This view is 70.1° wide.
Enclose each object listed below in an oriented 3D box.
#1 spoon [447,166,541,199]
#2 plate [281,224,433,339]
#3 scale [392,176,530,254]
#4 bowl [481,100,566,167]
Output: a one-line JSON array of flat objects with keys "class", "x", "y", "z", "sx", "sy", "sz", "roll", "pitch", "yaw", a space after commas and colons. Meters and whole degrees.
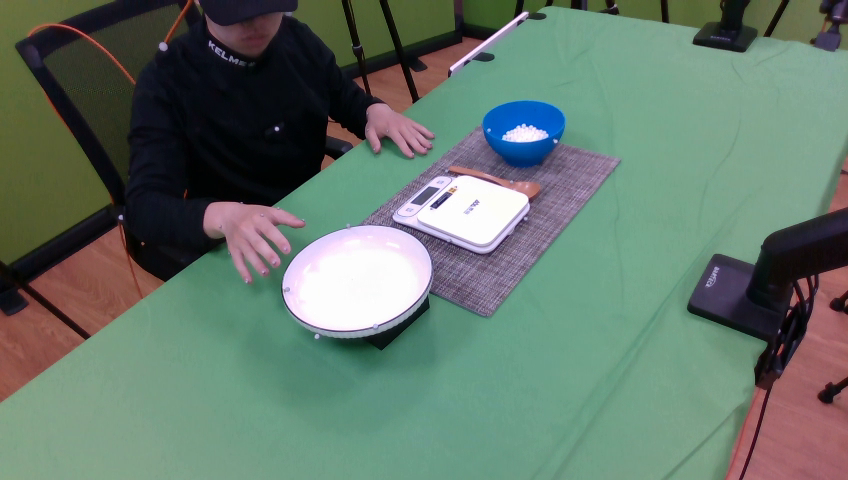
[{"class": "spoon", "x": 0.120, "y": -0.107, "z": 1.071, "sx": 0.192, "sy": 0.022, "sz": 0.041, "roll": 23, "pitch": 64, "yaw": 31}, {"class": "plate", "x": -0.089, "y": 0.057, "z": 0.825, "sx": 0.209, "sy": 0.038, "sz": 0.208, "roll": -4, "pitch": 40, "yaw": 4}, {"class": "scale", "x": 0.060, "y": -0.050, "z": 1.006, "sx": 0.199, "sy": 0.032, "sz": 0.149, "roll": 22, "pitch": 48, "yaw": 30}, {"class": "bowl", "x": 0.183, "y": -0.186, "z": 1.111, "sx": 0.151, "sy": 0.077, "sz": 0.150, "roll": -4, "pitch": 41, "yaw": 4}]
